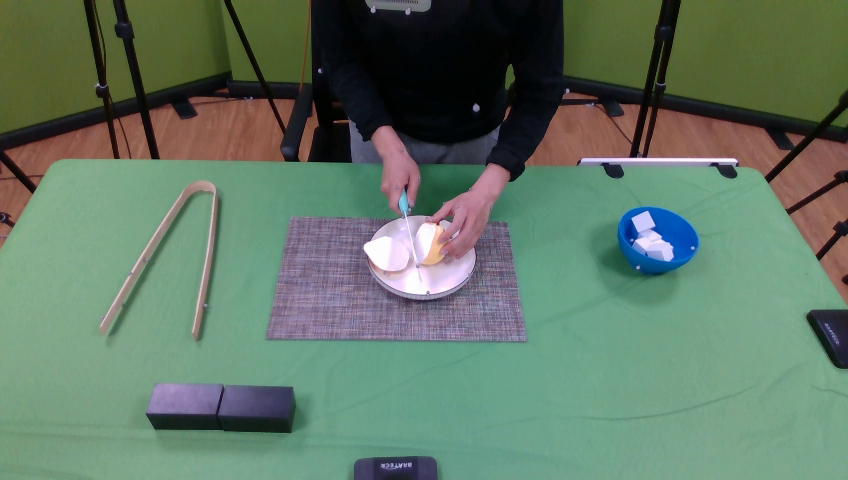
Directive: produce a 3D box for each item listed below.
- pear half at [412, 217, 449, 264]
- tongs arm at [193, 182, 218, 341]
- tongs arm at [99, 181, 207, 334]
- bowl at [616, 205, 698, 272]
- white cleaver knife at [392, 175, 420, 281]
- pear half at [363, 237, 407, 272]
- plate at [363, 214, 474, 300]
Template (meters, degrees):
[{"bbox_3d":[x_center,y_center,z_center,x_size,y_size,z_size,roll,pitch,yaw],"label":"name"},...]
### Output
[{"bbox_3d":[0.022,-0.003,1.116,0.056,0.110,0.076,1,53,-27],"label":"pear half"},{"bbox_3d":[-0.413,0.025,1.140,0.028,0.028,0.385,-5,47,-7],"label":"tongs arm"},{"bbox_3d":[-0.494,0.018,1.132,0.051,0.026,0.382,7,45,0],"label":"tongs arm"},{"bbox_3d":[0.443,0.010,1.181,0.151,0.077,0.150,2,46,-2],"label":"bowl"},{"bbox_3d":[-0.035,-0.029,1.151,0.021,0.066,0.284,-10,40,-2],"label":"white cleaver knife"},{"bbox_3d":[-0.076,0.031,1.139,0.088,0.031,0.070,18,48,-11],"label":"pear half"},{"bbox_3d":[-0.010,0.036,1.146,0.208,0.039,0.206,3,46,-2],"label":"plate"}]
